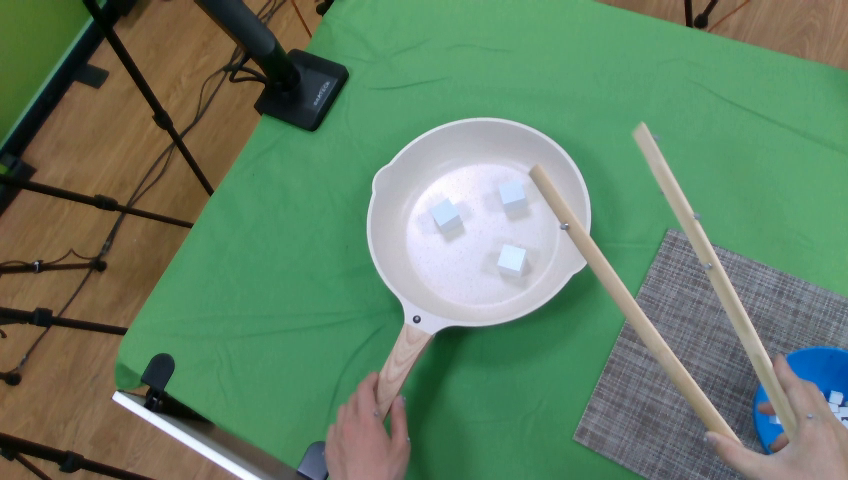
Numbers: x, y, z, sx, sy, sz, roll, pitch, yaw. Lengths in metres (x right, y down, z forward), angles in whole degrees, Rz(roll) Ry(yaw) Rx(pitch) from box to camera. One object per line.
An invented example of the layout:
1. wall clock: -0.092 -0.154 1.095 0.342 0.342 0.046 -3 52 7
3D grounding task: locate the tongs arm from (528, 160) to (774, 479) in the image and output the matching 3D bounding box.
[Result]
1. tongs arm: 0.218 0.078 0.578 0.028 0.028 0.385 -30 78 -23

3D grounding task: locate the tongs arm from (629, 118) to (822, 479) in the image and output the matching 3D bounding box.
1. tongs arm: 0.282 0.050 0.599 0.051 0.026 0.382 -20 75 -17

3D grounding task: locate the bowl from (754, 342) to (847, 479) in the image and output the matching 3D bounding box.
1. bowl: 0.429 0.191 0.655 0.151 0.077 0.150 -3 70 10

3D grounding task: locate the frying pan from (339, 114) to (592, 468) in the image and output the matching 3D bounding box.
1. frying pan: 0.023 0.058 0.773 0.305 0.103 0.486 24 69 19
